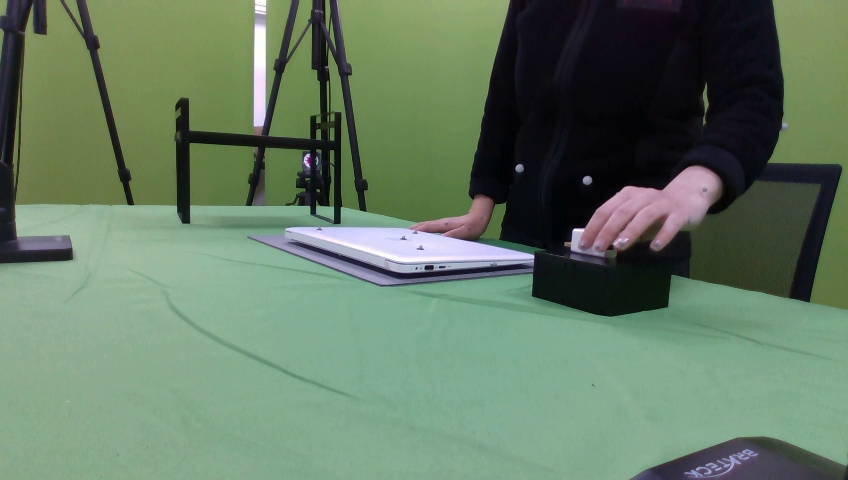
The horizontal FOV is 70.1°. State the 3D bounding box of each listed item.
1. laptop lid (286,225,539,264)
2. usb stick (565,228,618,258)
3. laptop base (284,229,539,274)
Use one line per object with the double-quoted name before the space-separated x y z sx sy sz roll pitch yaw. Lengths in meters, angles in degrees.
"laptop lid" -0.032 0.002 0.898 0.243 0.013 0.355 0 8 -34
"usb stick" 0.175 0.002 0.642 0.021 0.027 0.059 -4 7 -35
"laptop base" -0.034 0.013 0.898 0.237 0.023 0.352 1 7 -36
